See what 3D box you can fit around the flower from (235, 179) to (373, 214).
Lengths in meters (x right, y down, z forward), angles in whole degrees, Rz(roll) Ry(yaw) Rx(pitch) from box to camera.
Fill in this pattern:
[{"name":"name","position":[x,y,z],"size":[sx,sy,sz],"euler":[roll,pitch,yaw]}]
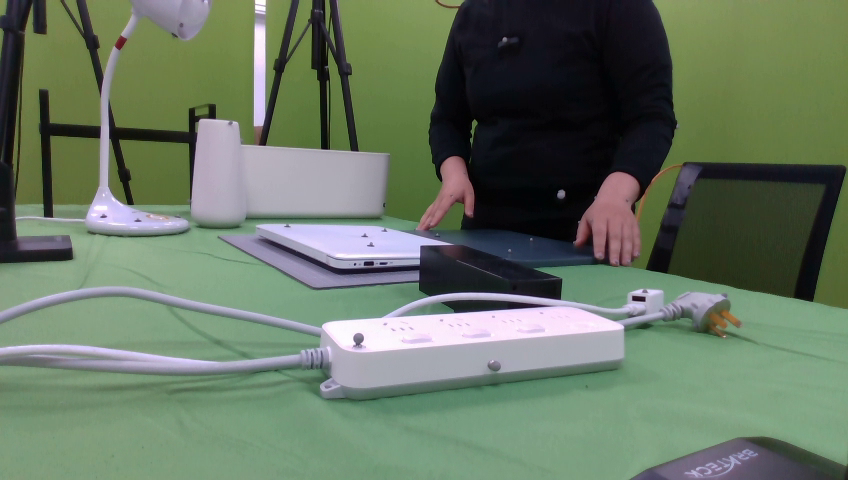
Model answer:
[{"name":"flower","position":[-0.267,-0.090,1.419],"size":[0.364,0.038,0.044],"euler":[10,-43,-40]}]

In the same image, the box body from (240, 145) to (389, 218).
[{"name":"box body","position":[-0.297,-0.143,1.474],"size":[0.366,0.160,0.253],"euler":[-1,9,-30]}]

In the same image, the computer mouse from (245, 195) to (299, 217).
[{"name":"computer mouse","position":[-0.345,-0.077,1.371],"size":[0.118,0.041,0.062],"euler":[-12,17,-32]}]

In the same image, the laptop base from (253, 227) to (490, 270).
[{"name":"laptop base","position":[-0.096,0.012,0.911],"size":[0.237,0.023,0.352],"euler":[3,6,-32]}]

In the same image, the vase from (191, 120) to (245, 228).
[{"name":"vase","position":[-0.389,-0.124,1.142],"size":[0.098,0.200,0.098],"euler":[3,9,0]}]

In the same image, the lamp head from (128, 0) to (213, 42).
[{"name":"lamp head","position":[-0.423,-0.394,0.980],"size":[0.123,0.112,0.112],"euler":[20,7,-3]}]

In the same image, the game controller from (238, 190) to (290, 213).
[{"name":"game controller","position":[-0.391,-0.094,1.465],"size":[0.097,0.051,0.154],"euler":[-3,8,-29]}]

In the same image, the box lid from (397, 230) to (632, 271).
[{"name":"box lid","position":[0.140,0.013,1.045],"size":[0.265,0.015,0.369],"euler":[-1,8,-32]}]

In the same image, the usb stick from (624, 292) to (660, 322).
[{"name":"usb stick","position":[0.211,0.064,0.580],"size":[0.021,0.027,0.059],"euler":[-2,-4,36]}]

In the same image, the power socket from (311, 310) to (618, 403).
[{"name":"power socket","position":[0.034,0.074,0.415],"size":[0.228,0.032,0.072],"euler":[-1,7,-24]}]

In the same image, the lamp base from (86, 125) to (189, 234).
[{"name":"lamp base","position":[-0.497,-0.105,1.027],"size":[0.179,0.180,0.160],"euler":[1,7,2]}]

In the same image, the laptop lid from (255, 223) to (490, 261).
[{"name":"laptop lid","position":[-0.093,0.000,0.911],"size":[0.243,0.013,0.355],"euler":[1,7,-30]}]

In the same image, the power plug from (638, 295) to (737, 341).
[{"name":"power plug","position":[0.235,0.077,0.535],"size":[0.072,0.035,0.052],"euler":[-34,40,-5]}]
